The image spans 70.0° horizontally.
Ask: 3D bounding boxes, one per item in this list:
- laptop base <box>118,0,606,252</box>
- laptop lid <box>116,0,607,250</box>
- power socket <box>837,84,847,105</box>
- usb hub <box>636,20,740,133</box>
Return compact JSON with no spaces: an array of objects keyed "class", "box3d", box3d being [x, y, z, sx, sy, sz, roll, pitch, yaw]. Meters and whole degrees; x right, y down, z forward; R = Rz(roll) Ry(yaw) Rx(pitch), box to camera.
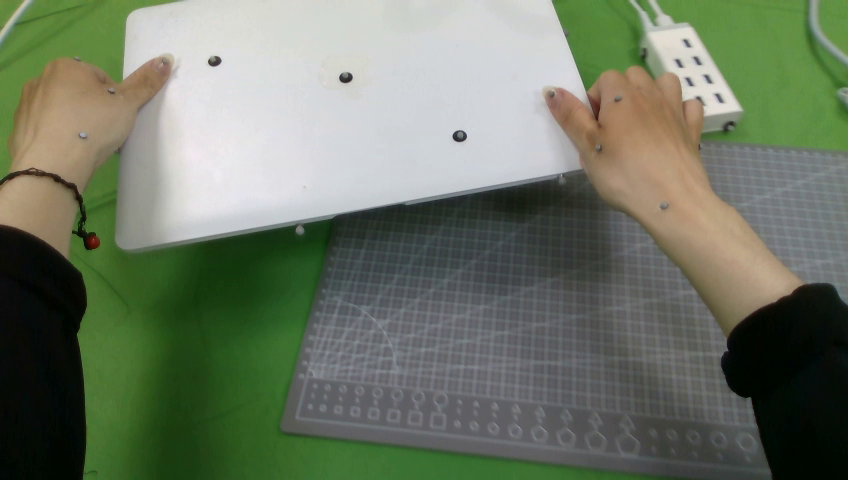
[{"class":"laptop base","box3d":[-0.059,-0.121,0.483,0.354,0.023,0.233,-10,66,-3]},{"class":"laptop lid","box3d":[-0.059,-0.125,0.471,0.357,0.013,0.239,-9,64,-2]},{"class":"power socket","box3d":[0.475,-0.084,0.519,0.072,0.033,0.224,-31,62,-18]},{"class":"usb hub","box3d":[0.247,-0.157,0.575,0.049,0.025,0.124,-10,58,-4]}]
